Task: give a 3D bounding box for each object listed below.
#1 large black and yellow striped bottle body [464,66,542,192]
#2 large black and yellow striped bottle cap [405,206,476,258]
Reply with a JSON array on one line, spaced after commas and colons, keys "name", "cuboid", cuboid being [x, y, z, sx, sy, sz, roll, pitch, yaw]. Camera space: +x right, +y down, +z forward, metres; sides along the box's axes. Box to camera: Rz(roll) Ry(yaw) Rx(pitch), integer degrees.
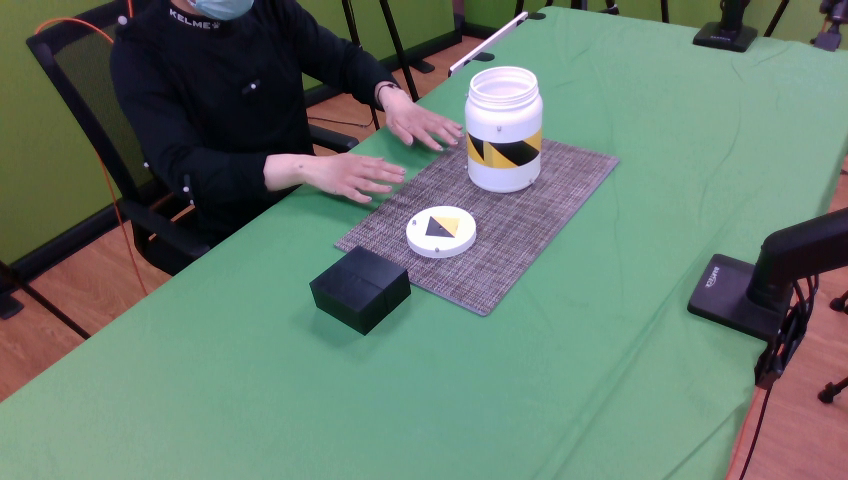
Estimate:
[{"name": "large black and yellow striped bottle body", "cuboid": [0.137, -0.190, 1.040, 0.131, 0.185, 0.130, -4, 41, 4]}, {"name": "large black and yellow striped bottle cap", "cuboid": [0.027, -0.015, 0.981, 0.115, 0.019, 0.114, -3, 41, 3]}]
